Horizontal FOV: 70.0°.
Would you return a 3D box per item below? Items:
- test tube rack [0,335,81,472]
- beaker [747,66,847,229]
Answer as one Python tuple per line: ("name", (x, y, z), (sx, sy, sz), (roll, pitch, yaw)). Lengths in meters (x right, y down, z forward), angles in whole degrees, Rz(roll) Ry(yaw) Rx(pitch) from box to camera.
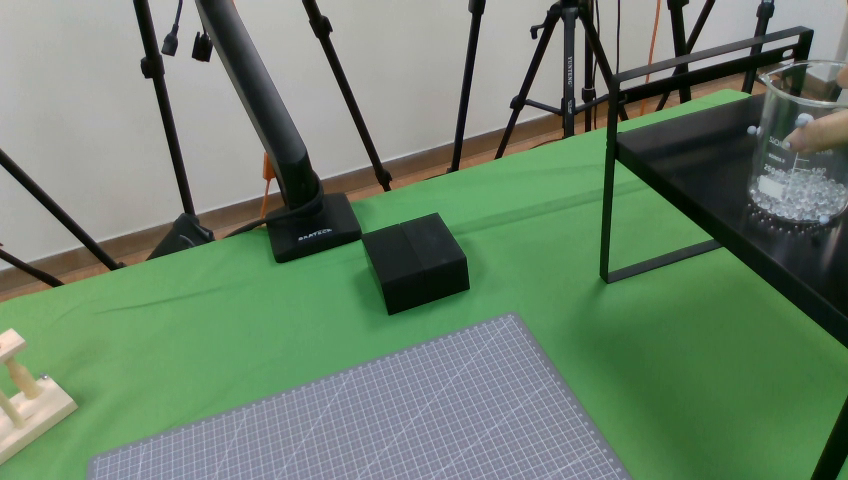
("test tube rack", (-0.467, 0.203, 0.562), (0.066, 0.086, 0.242), (21, 46, 34))
("beaker", (0.280, -0.066, 0.442), (0.074, 0.101, 0.083), (-32, 41, -27))
